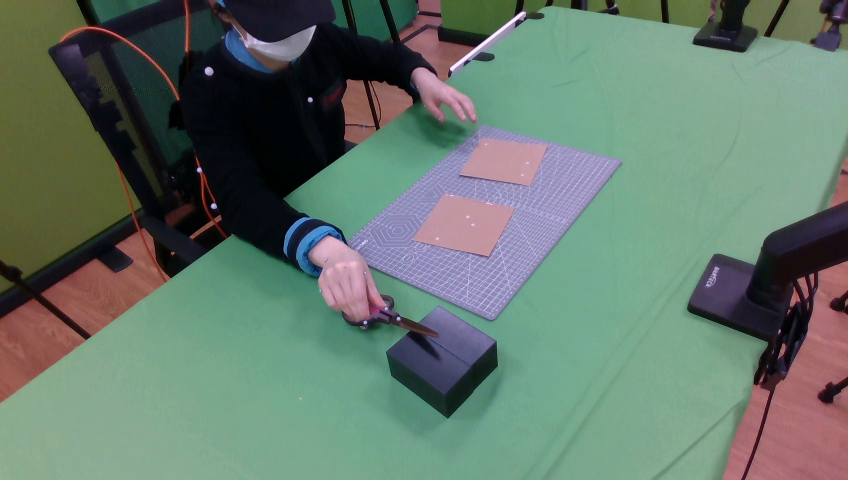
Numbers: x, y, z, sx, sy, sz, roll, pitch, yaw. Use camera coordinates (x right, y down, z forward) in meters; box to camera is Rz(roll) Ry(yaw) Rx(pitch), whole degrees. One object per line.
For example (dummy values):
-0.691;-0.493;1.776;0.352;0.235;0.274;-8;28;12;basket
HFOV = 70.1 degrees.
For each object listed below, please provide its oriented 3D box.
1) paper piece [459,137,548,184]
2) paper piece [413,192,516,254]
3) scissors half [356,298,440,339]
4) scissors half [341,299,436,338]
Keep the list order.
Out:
0.150;-0.152;1.131;0.135;0.009;0.138;15;43;17;paper piece
0.068;-0.030;1.000;0.134;0.004;0.136;12;44;23;paper piece
-0.036;0.103;0.805;0.040;0.013;0.173;-2;12;-37;scissors half
-0.049;0.103;0.792;0.174;0.013;0.040;13;7;39;scissors half
